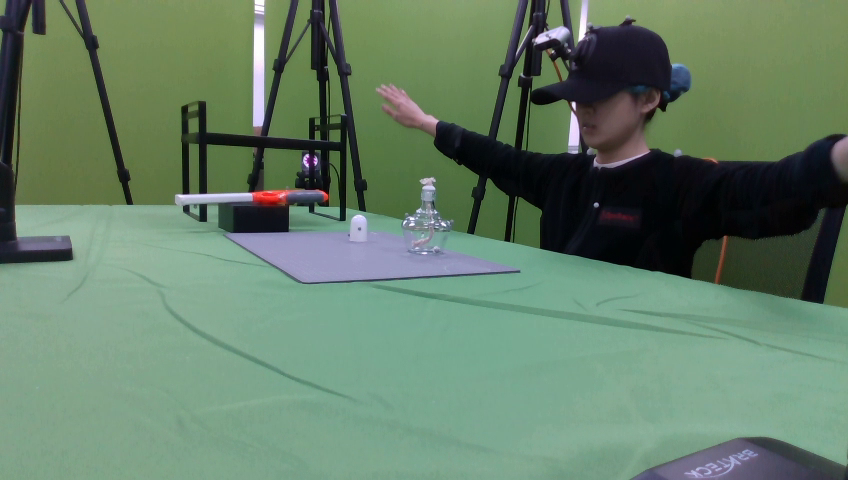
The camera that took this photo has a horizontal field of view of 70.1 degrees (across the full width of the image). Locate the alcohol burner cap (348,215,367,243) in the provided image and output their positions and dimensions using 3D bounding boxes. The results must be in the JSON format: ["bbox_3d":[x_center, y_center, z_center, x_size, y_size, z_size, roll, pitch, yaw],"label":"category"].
[{"bbox_3d":[-0.112,-0.019,1.025,0.034,0.048,0.034,2,6,0],"label":"alcohol burner cap"}]

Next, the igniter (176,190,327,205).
[{"bbox_3d":[-0.316,-0.080,1.137,0.278,0.025,0.057,-4,12,-33],"label":"igniter"}]

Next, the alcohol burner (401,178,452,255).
[{"bbox_3d":[0.005,-0.036,0.923,0.078,0.119,0.078,5,7,0],"label":"alcohol burner"}]
